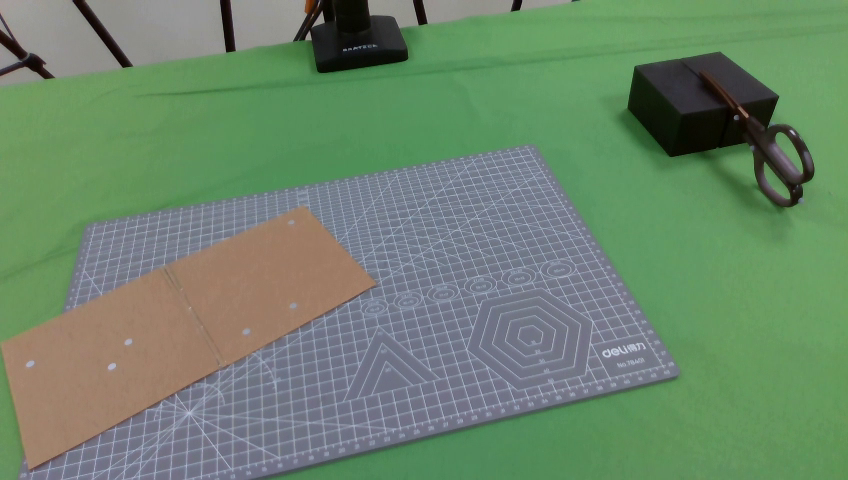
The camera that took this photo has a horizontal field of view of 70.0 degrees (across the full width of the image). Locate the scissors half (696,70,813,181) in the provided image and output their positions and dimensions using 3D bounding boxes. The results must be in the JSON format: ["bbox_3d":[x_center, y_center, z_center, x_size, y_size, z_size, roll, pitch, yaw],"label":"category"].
[{"bbox_3d":[0.298,-0.115,0.559,0.013,0.040,0.173,-19,43,1],"label":"scissors half"}]

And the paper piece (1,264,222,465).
[{"bbox_3d":[-0.242,0.084,0.462,0.136,0.004,0.134,-27,47,-22],"label":"paper piece"}]

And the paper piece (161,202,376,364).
[{"bbox_3d":[-0.133,0.028,0.515,0.138,0.009,0.134,-27,52,-23],"label":"paper piece"}]

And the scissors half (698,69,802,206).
[{"bbox_3d":[0.302,-0.102,0.574,0.013,0.040,0.173,-15,61,-3],"label":"scissors half"}]
